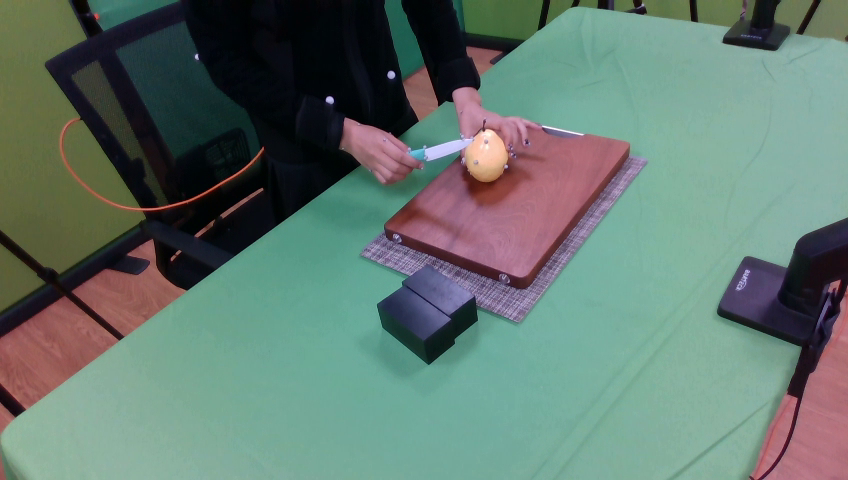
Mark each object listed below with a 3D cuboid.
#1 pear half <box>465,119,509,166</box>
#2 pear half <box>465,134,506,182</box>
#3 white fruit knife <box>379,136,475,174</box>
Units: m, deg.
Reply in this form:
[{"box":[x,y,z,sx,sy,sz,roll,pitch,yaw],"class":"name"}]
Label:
[{"box":[0.110,-0.165,1.044,0.076,0.110,0.056,4,41,10],"class":"pear half"},{"box":[0.103,-0.134,1.023,0.070,0.088,0.031,5,39,8],"class":"pear half"},{"box":[0.000,-0.143,1.002,0.206,0.027,0.016,-12,35,37],"class":"white fruit knife"}]
